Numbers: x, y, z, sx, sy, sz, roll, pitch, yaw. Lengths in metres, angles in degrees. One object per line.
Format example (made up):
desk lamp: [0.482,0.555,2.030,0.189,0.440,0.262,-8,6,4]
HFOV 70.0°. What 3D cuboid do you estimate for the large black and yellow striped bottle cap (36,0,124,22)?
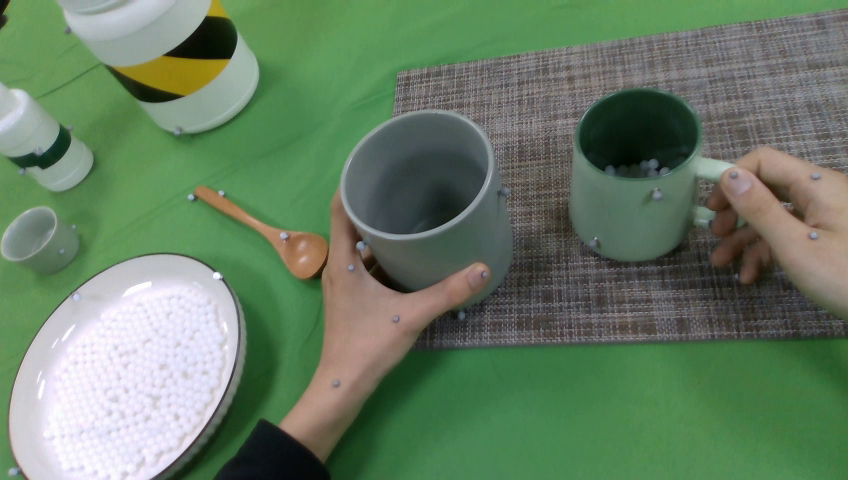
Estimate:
large black and yellow striped bottle cap: [-0.292,-0.240,0.540,0.115,0.019,0.114,-7,57,12]

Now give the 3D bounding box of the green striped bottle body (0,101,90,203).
green striped bottle body: [-0.414,-0.095,0.628,0.063,0.120,0.062,-7,58,13]

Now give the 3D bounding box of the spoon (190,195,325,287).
spoon: [-0.159,-0.008,0.561,0.192,0.022,0.041,27,87,28]

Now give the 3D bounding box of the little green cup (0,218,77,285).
little green cup: [-0.381,0.013,0.602,0.061,0.039,0.061,-7,57,12]

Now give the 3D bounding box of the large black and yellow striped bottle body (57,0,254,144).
large black and yellow striped bottle body: [-0.271,-0.200,0.610,0.130,0.186,0.129,-7,58,12]

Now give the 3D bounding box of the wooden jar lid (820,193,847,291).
wooden jar lid: [0.327,0.008,0.407,0.108,0.021,0.107,-8,59,13]

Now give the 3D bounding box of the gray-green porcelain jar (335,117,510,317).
gray-green porcelain jar: [0.006,-0.009,0.446,0.105,0.128,0.105,-7,58,12]

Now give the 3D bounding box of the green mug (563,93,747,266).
green mug: [0.161,-0.036,0.432,0.124,0.106,0.092,17,65,24]

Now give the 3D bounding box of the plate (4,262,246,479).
plate: [-0.239,0.116,0.501,0.209,0.038,0.207,-7,58,12]

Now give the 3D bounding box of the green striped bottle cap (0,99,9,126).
green striped bottle cap: [-0.427,-0.122,0.585,0.044,0.020,0.044,-5,60,10]
